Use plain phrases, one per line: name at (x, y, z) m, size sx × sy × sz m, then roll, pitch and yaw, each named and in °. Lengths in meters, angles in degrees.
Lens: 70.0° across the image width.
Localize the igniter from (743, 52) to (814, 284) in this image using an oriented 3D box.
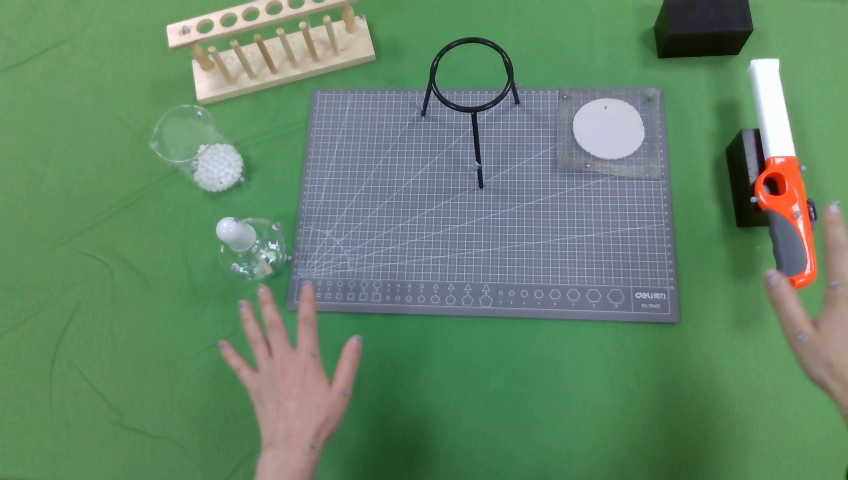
igniter at (0.382, -0.085, 0.658) m, size 0.057 × 0.025 × 0.274 m, roll 0°, pitch 70°, yaw 8°

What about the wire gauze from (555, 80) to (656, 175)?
wire gauze at (0.224, -0.143, 0.746) m, size 0.125 × 0.011 × 0.121 m, roll 6°, pitch 73°, yaw 4°

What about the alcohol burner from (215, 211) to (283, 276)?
alcohol burner at (-0.204, -0.002, 0.688) m, size 0.078 × 0.120 × 0.077 m, roll -1°, pitch 70°, yaw 4°

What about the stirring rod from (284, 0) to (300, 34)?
stirring rod at (-0.167, -0.315, 0.714) m, size 0.014 × 0.177 × 0.006 m, roll 9°, pitch 61°, yaw 7°

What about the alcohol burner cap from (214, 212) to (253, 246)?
alcohol burner cap at (-0.209, -0.014, 0.654) m, size 0.034 × 0.048 × 0.033 m, roll -1°, pitch 76°, yaw 5°

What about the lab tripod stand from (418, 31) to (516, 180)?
lab tripod stand at (0.054, -0.160, 0.701) m, size 0.148 × 0.132 × 0.147 m, roll -1°, pitch 73°, yaw 3°

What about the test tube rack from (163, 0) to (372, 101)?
test tube rack at (-0.197, -0.260, 0.783) m, size 0.242 × 0.086 × 0.066 m, roll -15°, pitch 72°, yaw 0°

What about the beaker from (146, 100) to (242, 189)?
beaker at (-0.274, -0.110, 0.735) m, size 0.084 × 0.101 × 0.073 m, roll -12°, pitch 71°, yaw 2°
